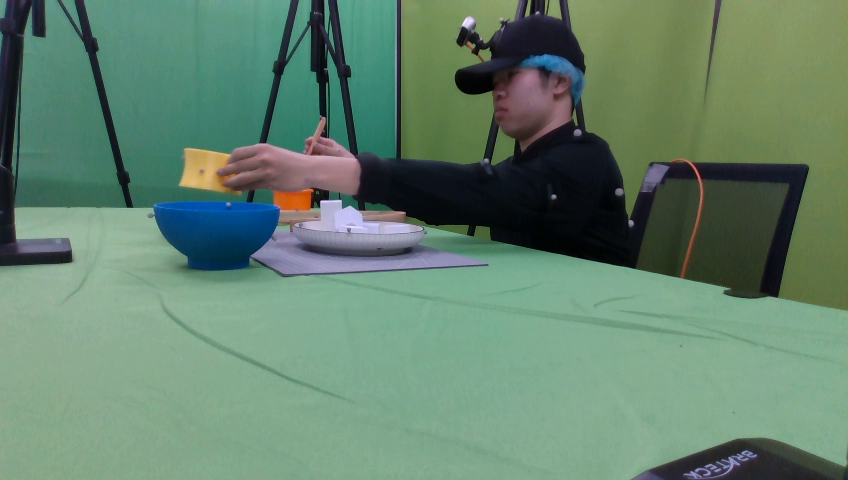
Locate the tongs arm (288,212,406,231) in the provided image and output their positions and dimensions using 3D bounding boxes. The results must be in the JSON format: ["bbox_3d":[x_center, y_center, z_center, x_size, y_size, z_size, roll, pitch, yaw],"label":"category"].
[{"bbox_3d":[-0.146,-0.041,1.280,0.028,0.028,0.389,3,5,33],"label":"tongs arm"}]

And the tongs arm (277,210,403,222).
[{"bbox_3d":[-0.206,-0.052,1.332,0.387,0.026,0.050,-2,8,-44],"label":"tongs arm"}]

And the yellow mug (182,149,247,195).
[{"bbox_3d":[-0.353,-0.116,1.042,0.130,0.064,0.100,11,3,40],"label":"yellow mug"}]

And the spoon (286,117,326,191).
[{"bbox_3d":[-0.260,-0.196,1.367,0.042,0.193,0.021,24,-14,-9],"label":"spoon"}]

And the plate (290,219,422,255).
[{"bbox_3d":[-0.108,-0.005,0.963,0.208,0.039,0.207,3,7,0],"label":"plate"}]

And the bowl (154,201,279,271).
[{"bbox_3d":[-0.263,-0.005,0.773,0.151,0.077,0.151,3,8,0],"label":"bowl"}]
